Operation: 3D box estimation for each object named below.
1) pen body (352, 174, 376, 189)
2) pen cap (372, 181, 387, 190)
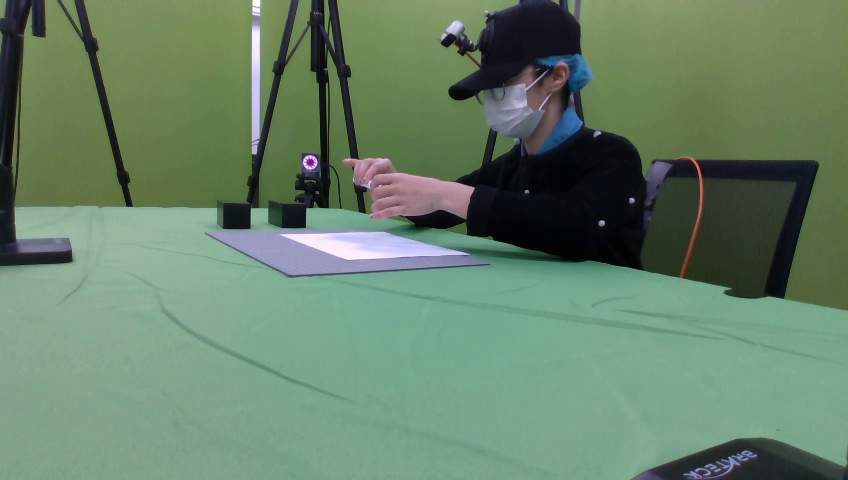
[{"bbox_3d":[-0.105,-0.107,1.123,0.017,0.017,0.143,-1,12,-25],"label":"pen body"},{"bbox_3d":[-0.077,-0.096,1.066,0.017,0.017,0.038,-1,7,-25],"label":"pen cap"}]
